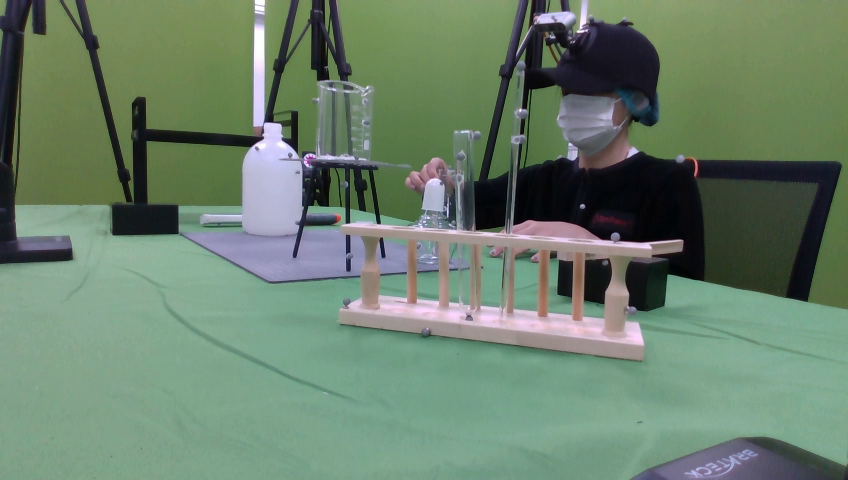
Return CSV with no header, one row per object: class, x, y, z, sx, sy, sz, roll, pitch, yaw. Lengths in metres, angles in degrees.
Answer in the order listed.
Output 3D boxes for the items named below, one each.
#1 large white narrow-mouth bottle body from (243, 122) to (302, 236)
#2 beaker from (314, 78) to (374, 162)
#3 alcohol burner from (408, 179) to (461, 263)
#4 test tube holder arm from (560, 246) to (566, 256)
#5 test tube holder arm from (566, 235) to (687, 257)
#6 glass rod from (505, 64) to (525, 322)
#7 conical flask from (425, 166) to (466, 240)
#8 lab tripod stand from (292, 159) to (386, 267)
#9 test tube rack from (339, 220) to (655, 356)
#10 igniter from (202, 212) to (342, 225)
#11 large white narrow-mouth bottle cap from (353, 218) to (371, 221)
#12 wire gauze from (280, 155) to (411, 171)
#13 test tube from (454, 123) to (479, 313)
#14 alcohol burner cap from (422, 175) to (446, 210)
large white narrow-mouth bottle body,-0.264,-0.109,1.061,0.102,0.194,0.102,2,8,0
beaker,-0.101,-0.150,0.773,0.074,0.100,0.083,-2,8,-40
alcohol burner,0.013,-0.029,0.834,0.078,0.119,0.078,0,6,0
test tube holder arm,0.173,0.007,0.611,0.088,0.015,0.010,-3,9,-30
test tube holder arm,0.215,0.006,0.629,0.179,0.015,0.013,-3,9,-30
glass rod,0.069,-0.030,0.458,0.008,0.199,0.008,0,15,0
conical flask,0.040,-0.064,1.024,0.075,0.122,0.075,4,8,0
lab tripod stand,-0.105,-0.039,0.797,0.148,0.131,0.148,2,5,0
test tube rack,0.056,0.032,0.495,0.242,0.085,0.067,4,7,15
igniter,-0.298,-0.044,1.216,0.278,0.025,0.057,-3,-2,-32
large white narrow-mouth bottle cap,-0.121,-0.029,1.184,0.038,0.024,0.037,2,8,0
wire gauze,-0.103,-0.103,0.785,0.121,0.011,0.126,11,8,42
test tube,0.034,-0.016,0.477,0.017,0.150,0.017,-2,9,1
alcohol burner cap,0.016,-0.065,0.830,0.034,0.048,0.034,7,4,0
